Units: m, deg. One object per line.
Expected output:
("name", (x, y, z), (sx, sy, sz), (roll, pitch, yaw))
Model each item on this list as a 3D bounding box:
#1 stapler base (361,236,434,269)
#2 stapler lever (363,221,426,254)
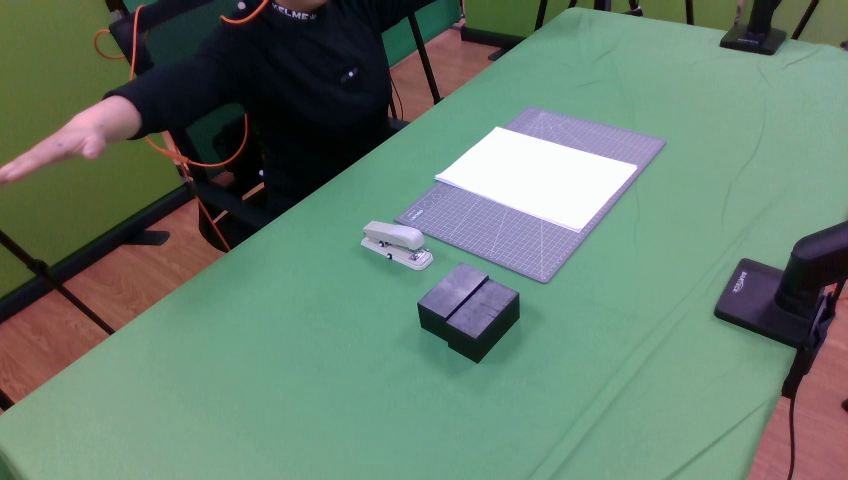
("stapler base", (-0.044, 0.009, 0.974), (0.129, 0.024, 0.041), (21, 46, 32))
("stapler lever", (-0.048, -0.011, 0.958), (0.117, 0.040, 0.027), (21, 46, 32))
